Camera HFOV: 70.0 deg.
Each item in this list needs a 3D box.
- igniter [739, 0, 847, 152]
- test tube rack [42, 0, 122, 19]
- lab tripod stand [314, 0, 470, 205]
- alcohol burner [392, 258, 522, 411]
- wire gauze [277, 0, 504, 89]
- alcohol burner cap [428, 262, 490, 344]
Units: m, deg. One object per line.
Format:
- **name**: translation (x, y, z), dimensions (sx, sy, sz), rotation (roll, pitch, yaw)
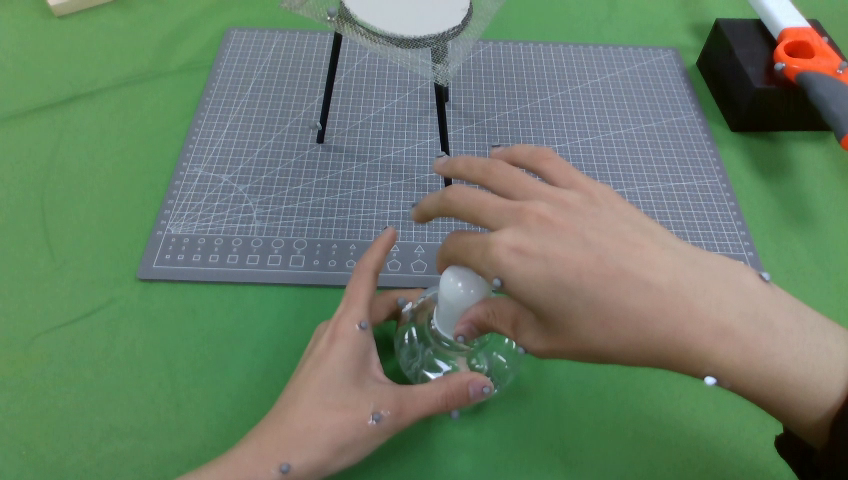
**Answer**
- **igniter**: translation (0.323, -0.171, 0.530), dimensions (0.057, 0.025, 0.273), rotation (-2, 50, -1)
- **test tube rack**: translation (-0.286, -0.319, 0.628), dimensions (0.242, 0.086, 0.066), rotation (-29, 60, -23)
- **lab tripod stand**: translation (-0.013, -0.116, 0.456), dimensions (0.148, 0.132, 0.147), rotation (3, 53, -3)
- **alcohol burner**: translation (0.020, 0.051, 0.347), dimensions (0.078, 0.120, 0.077), rotation (1, 53, 0)
- **wire gauze**: translation (-0.014, -0.159, 0.404), dimensions (0.124, 0.011, 0.121), rotation (25, 56, 13)
- **alcohol burner cap**: translation (0.020, 0.031, 0.323), dimensions (0.034, 0.048, 0.033), rotation (2, 52, -2)
